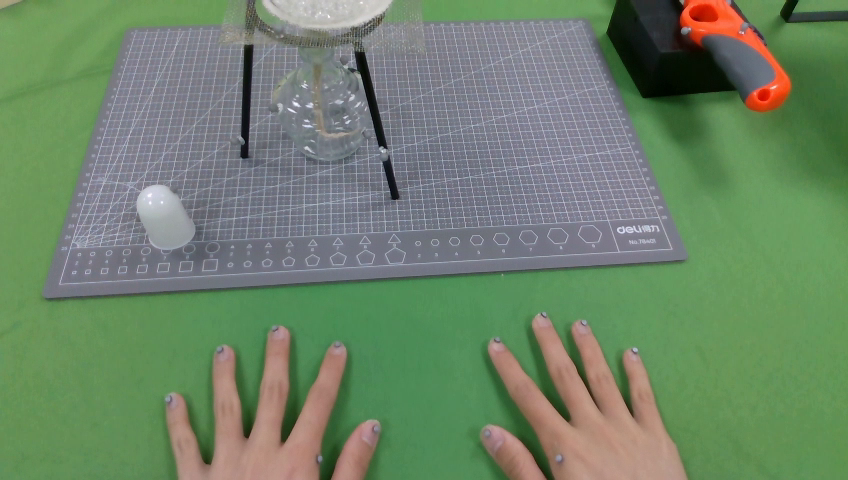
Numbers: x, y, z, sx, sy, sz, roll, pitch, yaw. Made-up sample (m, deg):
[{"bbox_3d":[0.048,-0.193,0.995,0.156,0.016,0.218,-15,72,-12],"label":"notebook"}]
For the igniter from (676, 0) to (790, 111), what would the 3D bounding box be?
[{"bbox_3d":[0.245,-0.208,0.537,0.057,0.025,0.273,-7,52,-5],"label":"igniter"}]

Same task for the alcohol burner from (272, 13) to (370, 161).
[{"bbox_3d":[-0.077,-0.117,0.454,0.078,0.120,0.077,1,55,-1],"label":"alcohol burner"}]

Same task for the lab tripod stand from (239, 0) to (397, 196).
[{"bbox_3d":[-0.069,-0.115,0.441,0.148,0.132,0.147,3,53,-3],"label":"lab tripod stand"}]

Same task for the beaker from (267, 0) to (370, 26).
[{"bbox_3d":[-0.064,-0.183,0.349,0.074,0.101,0.083,-11,57,-10],"label":"beaker"}]

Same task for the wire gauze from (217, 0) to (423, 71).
[{"bbox_3d":[-0.062,-0.160,0.394,0.125,0.011,0.120,3,58,-5],"label":"wire gauze"}]

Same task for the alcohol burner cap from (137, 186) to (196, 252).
[{"bbox_3d":[-0.181,-0.018,0.421,0.034,0.048,0.033,2,53,-3],"label":"alcohol burner cap"}]

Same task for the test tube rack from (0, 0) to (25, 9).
[{"bbox_3d":[-0.384,-0.303,0.595,0.242,0.086,0.066,-35,63,-25],"label":"test tube rack"}]
